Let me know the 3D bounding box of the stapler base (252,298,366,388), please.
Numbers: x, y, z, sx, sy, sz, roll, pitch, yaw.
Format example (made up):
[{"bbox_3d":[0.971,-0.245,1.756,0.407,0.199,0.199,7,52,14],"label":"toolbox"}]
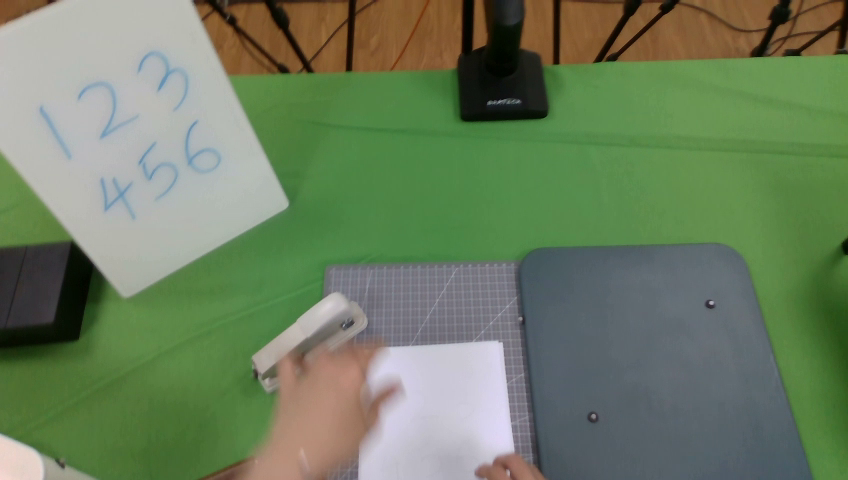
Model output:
[{"bbox_3d":[-0.125,0.106,0.656,0.130,0.024,0.041,-34,61,-13],"label":"stapler base"}]

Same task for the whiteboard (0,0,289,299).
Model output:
[{"bbox_3d":[-0.325,-0.128,0.669,0.217,0.309,0.142,-32,45,-15],"label":"whiteboard"}]

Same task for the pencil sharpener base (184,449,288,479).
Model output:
[{"bbox_3d":[-0.162,0.237,0.535,0.077,0.108,0.061,-21,62,-10],"label":"pencil sharpener base"}]

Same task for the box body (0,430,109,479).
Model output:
[{"bbox_3d":[-0.486,0.253,0.501,0.363,0.162,0.252,17,62,11],"label":"box body"}]

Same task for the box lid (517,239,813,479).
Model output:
[{"bbox_3d":[0.241,0.160,0.626,0.263,0.015,0.368,-1,60,-1],"label":"box lid"}]

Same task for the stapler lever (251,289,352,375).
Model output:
[{"bbox_3d":[-0.128,0.094,0.634,0.118,0.040,0.026,-34,60,-13],"label":"stapler lever"}]

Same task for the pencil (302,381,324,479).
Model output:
[{"bbox_3d":[-0.103,0.229,0.593,0.012,0.012,0.192,-14,61,-6],"label":"pencil"}]
